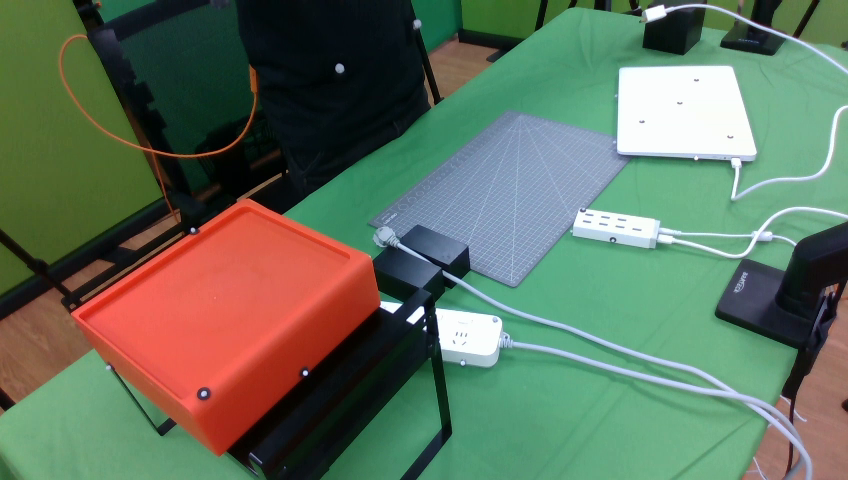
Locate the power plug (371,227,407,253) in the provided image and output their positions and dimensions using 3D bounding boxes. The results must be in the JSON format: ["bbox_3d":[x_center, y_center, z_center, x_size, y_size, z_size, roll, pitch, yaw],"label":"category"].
[{"bbox_3d":[-0.054,0.009,0.929,0.035,0.053,0.072,-34,63,-5],"label":"power plug"}]

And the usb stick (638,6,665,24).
[{"bbox_3d":[0.504,-0.499,1.347,0.059,0.027,0.021,-20,6,-1],"label":"usb stick"}]

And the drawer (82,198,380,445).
[{"bbox_3d":[-0.185,0.066,0.600,0.193,0.073,0.212,24,50,31],"label":"drawer"}]

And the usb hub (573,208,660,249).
[{"bbox_3d":[0.302,-0.019,0.949,0.124,0.025,0.049,11,43,20],"label":"usb hub"}]

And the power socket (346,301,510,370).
[{"bbox_3d":[-0.001,0.126,0.817,0.226,0.033,0.072,6,43,15],"label":"power socket"}]

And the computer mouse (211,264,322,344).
[{"bbox_3d":[-0.164,0.062,0.624,0.116,0.041,0.063,21,45,27],"label":"computer mouse"}]

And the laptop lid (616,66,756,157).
[{"bbox_3d":[0.503,-0.265,1.196,0.241,0.013,0.356,5,41,16],"label":"laptop lid"}]

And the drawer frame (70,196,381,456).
[{"bbox_3d":[-0.186,0.068,0.597,0.200,0.083,0.214,23,49,30],"label":"drawer frame"}]

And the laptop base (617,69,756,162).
[{"bbox_3d":[0.507,-0.255,1.204,0.235,0.023,0.353,3,41,15],"label":"laptop base"}]
